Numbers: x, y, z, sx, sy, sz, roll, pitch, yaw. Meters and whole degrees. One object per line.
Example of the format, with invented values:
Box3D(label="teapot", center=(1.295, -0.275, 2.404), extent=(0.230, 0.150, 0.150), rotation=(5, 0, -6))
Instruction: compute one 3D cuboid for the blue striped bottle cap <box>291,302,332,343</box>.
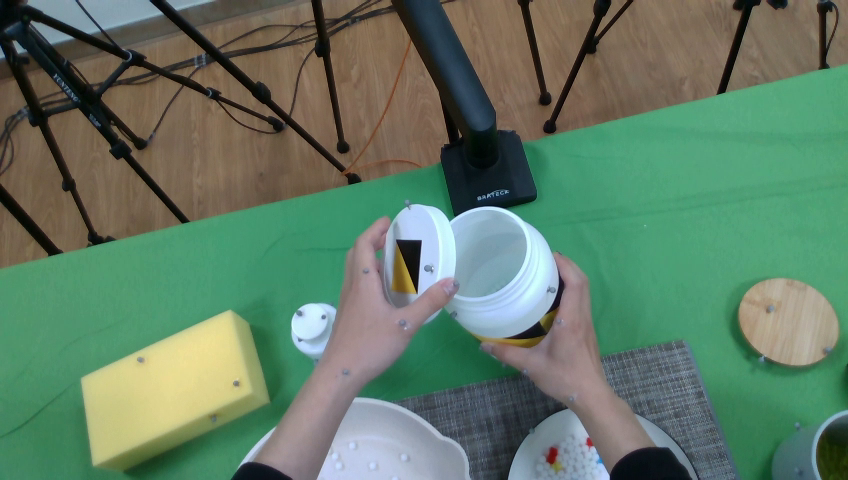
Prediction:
Box3D(label="blue striped bottle cap", center=(-0.129, 0.094, 0.692), extent=(0.044, 0.021, 0.044), rotation=(-5, 62, 9))

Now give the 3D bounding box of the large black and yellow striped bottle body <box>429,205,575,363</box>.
Box3D(label="large black and yellow striped bottle body", center=(0.090, 0.052, 0.681), extent=(0.130, 0.186, 0.129), rotation=(-11, 59, 20))

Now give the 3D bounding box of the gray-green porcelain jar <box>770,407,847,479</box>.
Box3D(label="gray-green porcelain jar", center=(0.412, 0.228, 0.595), extent=(0.106, 0.127, 0.105), rotation=(-4, 64, 8))

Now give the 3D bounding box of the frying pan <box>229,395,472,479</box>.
Box3D(label="frying pan", center=(-0.026, 0.386, 0.600), extent=(0.307, 0.104, 0.482), rotation=(-34, 56, -7))

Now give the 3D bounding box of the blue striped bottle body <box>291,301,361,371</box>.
Box3D(label="blue striped bottle body", center=(-0.121, 0.115, 0.739), extent=(0.063, 0.122, 0.062), rotation=(-3, 64, 8))

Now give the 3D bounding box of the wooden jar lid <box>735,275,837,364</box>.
Box3D(label="wooden jar lid", center=(0.425, 0.095, 0.717), extent=(0.108, 0.021, 0.107), rotation=(-3, 66, 8))

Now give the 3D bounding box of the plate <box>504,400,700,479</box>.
Box3D(label="plate", center=(0.190, 0.279, 0.653), extent=(0.209, 0.038, 0.207), rotation=(-4, 64, 8))

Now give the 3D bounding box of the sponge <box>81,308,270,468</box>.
Box3D(label="sponge", center=(-0.315, 0.188, 0.770), extent=(0.207, 0.061, 0.117), rotation=(-25, 63, -4))

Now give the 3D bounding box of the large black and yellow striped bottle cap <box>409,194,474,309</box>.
Box3D(label="large black and yellow striped bottle cap", center=(0.017, 0.011, 0.574), extent=(0.019, 0.116, 0.114), rotation=(-23, 62, 7))
